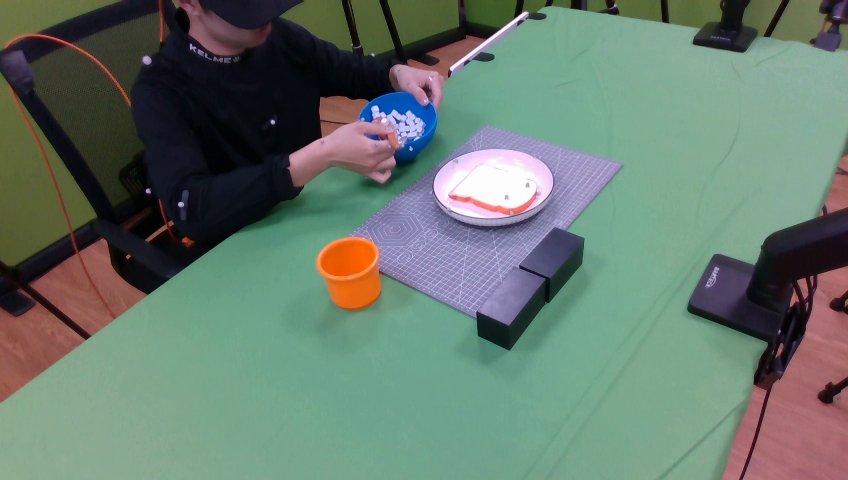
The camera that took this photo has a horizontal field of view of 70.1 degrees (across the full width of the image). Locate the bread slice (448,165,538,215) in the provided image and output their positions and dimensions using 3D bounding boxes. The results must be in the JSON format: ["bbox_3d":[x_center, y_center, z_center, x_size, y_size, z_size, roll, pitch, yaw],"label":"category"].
[{"bbox_3d":[0.126,-0.085,1.038,0.133,0.018,0.107,16,45,27],"label":"bread slice"}]

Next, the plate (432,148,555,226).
[{"bbox_3d":[0.119,-0.087,1.037,0.209,0.038,0.208,-4,40,4],"label":"plate"}]

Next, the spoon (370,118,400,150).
[{"bbox_3d":[-0.066,-0.190,1.076,0.042,0.022,0.192,-7,23,-9],"label":"spoon"}]

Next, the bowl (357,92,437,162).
[{"bbox_3d":[-0.047,-0.203,1.149,0.151,0.077,0.150,-2,52,4],"label":"bowl"}]
